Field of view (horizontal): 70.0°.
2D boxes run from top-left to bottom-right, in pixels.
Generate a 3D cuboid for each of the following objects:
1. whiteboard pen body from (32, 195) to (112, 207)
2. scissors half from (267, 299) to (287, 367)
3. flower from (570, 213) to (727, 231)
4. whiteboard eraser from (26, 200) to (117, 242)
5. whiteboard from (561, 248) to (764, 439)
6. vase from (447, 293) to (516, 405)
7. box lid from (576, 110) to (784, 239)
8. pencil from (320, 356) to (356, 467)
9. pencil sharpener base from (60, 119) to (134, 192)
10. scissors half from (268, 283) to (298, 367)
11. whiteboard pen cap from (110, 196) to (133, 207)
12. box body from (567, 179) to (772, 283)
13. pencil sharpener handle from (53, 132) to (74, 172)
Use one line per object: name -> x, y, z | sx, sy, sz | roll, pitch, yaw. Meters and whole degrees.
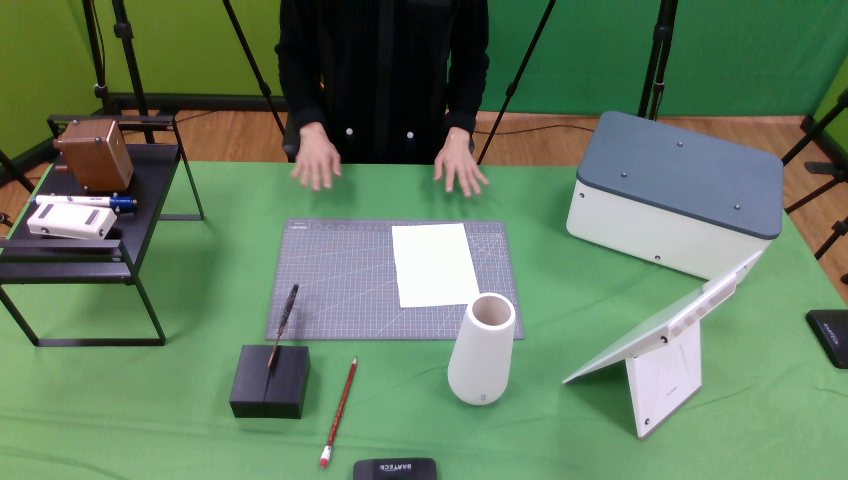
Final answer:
whiteboard pen body -> -0.543, -0.061, 0.961 | 0.141, 0.017, 0.017 | 1, 46, -10
scissors half -> -0.239, 0.150, 0.997 | 0.013, 0.040, 0.174 | 24, 24, -13
flower -> 0.479, -0.039, 1.270 | 0.362, 0.038, 0.044 | -1, 15, -13
whiteboard eraser -> -0.532, -0.026, 0.919 | 0.113, 0.042, 0.055 | 7, 45, 3
whiteboard -> 0.386, 0.176, 0.905 | 0.217, 0.306, 0.143 | -26, 72, -27
vase -> 0.091, 0.169, 0.921 | 0.098, 0.201, 0.097 | 3, 47, -3
box lid -> 0.498, -0.137, 1.167 | 0.371, 0.015, 0.262 | 19, 48, 14
pencil -> -0.130, 0.261, 0.946 | 0.012, 0.012, 0.193 | 10, 45, 5
pencil sharpener base -> -0.528, -0.135, 0.979 | 0.077, 0.107, 0.061 | -4, 47, -7
scissors half -> -0.230, 0.135, 0.986 | 0.013, 0.040, 0.174 | 19, 43, -11
whiteboard pen cap -> -0.486, -0.061, 0.972 | 0.033, 0.018, 0.018 | 0, 46, -9
box body -> 0.493, -0.086, 1.220 | 0.363, 0.161, 0.253 | 19, 48, 14
pencil sharpener handle -> -0.578, -0.138, 0.961 | 0.031, 0.068, 0.036 | -4, 34, -7
